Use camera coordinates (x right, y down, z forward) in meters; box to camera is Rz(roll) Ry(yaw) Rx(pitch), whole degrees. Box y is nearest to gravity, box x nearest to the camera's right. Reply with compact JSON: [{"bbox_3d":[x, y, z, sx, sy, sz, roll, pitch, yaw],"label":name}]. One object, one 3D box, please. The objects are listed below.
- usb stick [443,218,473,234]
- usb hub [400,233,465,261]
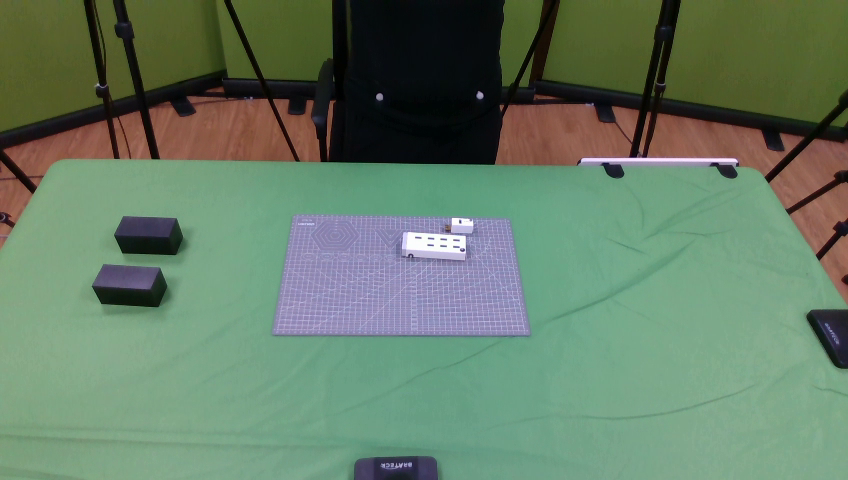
[{"bbox_3d":[0.068,-0.028,1.222,0.059,0.027,0.021,1,45,0],"label":"usb stick"},{"bbox_3d":[0.018,0.013,1.180,0.125,0.025,0.049,4,46,0],"label":"usb hub"}]
